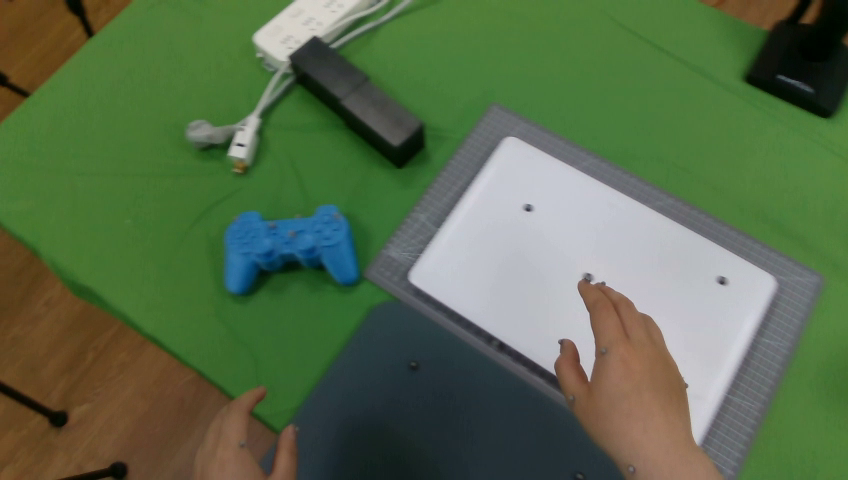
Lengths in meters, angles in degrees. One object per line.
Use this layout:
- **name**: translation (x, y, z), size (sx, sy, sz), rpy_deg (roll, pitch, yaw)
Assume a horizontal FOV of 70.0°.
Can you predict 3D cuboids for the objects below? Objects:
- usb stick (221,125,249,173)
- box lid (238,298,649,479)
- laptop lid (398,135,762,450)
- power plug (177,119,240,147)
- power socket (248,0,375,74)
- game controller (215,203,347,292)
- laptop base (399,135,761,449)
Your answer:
- **usb stick**: translation (-0.244, -0.115, 0.777), size (0.021, 0.027, 0.059), rpy_deg (13, 75, -3)
- **box lid**: translation (0.017, 0.247, 0.628), size (0.370, 0.015, 0.262), rpy_deg (31, 72, 14)
- **laptop lid**: translation (0.174, 0.041, 0.692), size (0.355, 0.013, 0.241), rpy_deg (33, 74, 14)
- **power plug**: translation (-0.285, -0.142, 0.796), size (0.052, 0.035, 0.073), rpy_deg (27, 30, 36)
- **power socket**: translation (-0.151, -0.320, 0.859), size (0.072, 0.033, 0.226), rpy_deg (39, 73, 15)
- **game controller**: translation (-0.171, 0.006, 0.715), size (0.155, 0.052, 0.096), rpy_deg (-4, 64, -1)
- **laptop base**: translation (0.176, 0.044, 0.703), size (0.352, 0.023, 0.235), rpy_deg (31, 75, 14)
